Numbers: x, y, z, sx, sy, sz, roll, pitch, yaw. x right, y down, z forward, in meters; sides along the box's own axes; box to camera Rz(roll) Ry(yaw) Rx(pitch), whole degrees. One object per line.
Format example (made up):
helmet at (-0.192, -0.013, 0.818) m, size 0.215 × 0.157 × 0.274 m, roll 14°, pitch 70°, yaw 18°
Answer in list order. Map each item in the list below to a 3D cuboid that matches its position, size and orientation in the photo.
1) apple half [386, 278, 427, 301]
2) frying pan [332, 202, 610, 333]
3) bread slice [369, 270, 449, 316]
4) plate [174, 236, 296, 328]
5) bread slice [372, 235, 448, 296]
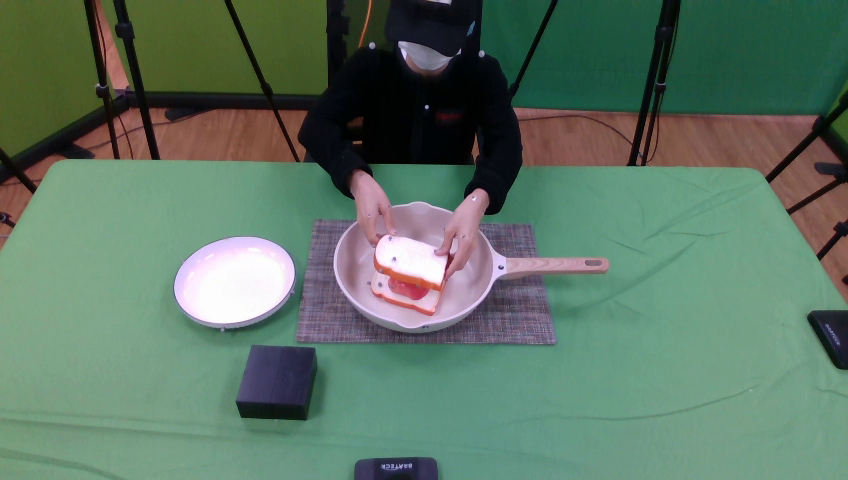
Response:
apple half at (-0.027, 0.069, 1.092) m, size 0.081 × 0.033 × 0.081 m, roll 5°, pitch 45°, yaw -5°
frying pan at (0.085, 0.052, 1.093) m, size 0.488 × 0.103 × 0.305 m, roll -1°, pitch 46°, yaw 6°
bread slice at (-0.031, 0.083, 1.108) m, size 0.134 × 0.018 × 0.106 m, roll 13°, pitch 45°, yaw 7°
plate at (-0.335, 0.077, 1.087) m, size 0.208 × 0.039 × 0.206 m, roll 2°, pitch 46°, yaw -2°
bread slice at (-0.026, 0.039, 1.059) m, size 0.131 × 0.019 × 0.104 m, roll 20°, pitch 40°, yaw -4°
